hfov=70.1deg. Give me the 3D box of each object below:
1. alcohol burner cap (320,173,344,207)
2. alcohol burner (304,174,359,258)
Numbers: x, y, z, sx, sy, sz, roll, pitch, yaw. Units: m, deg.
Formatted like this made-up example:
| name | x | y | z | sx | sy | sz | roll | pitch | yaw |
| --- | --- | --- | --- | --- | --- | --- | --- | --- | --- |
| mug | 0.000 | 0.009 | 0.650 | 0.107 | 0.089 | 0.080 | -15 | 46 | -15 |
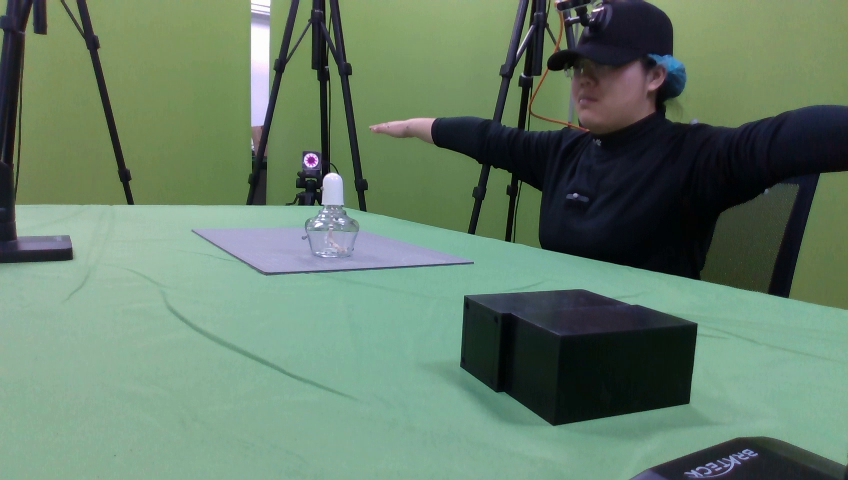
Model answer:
| name | x | y | z | sx | sy | sz | roll | pitch | yaw |
| --- | --- | --- | --- | --- | --- | --- | --- | --- | --- |
| alcohol burner cap | -0.129 | -0.071 | 0.848 | 0.034 | 0.048 | 0.034 | 0 | 2 | 0 |
| alcohol burner | -0.130 | -0.035 | 0.851 | 0.078 | 0.119 | 0.078 | 2 | 5 | 0 |
